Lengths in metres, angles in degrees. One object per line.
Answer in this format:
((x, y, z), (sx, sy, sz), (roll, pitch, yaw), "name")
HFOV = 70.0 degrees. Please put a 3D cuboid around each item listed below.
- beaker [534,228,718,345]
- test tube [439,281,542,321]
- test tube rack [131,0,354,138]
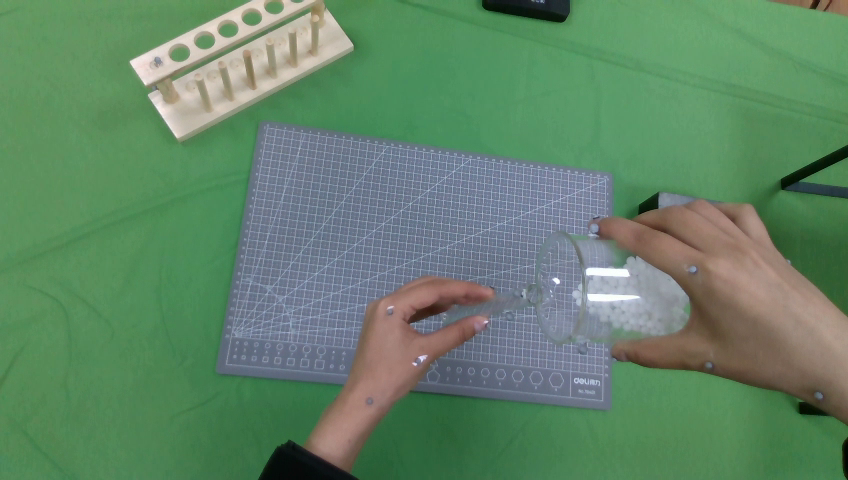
((0.132, 0.033, 0.405), (0.100, 0.084, 0.073), (2, 79, -13), "beaker")
((0.049, 0.053, 0.496), (0.017, 0.150, 0.017), (6, 75, -23), "test tube")
((-0.199, -0.219, 0.703), (0.242, 0.085, 0.066), (-34, 83, -16), "test tube rack")
